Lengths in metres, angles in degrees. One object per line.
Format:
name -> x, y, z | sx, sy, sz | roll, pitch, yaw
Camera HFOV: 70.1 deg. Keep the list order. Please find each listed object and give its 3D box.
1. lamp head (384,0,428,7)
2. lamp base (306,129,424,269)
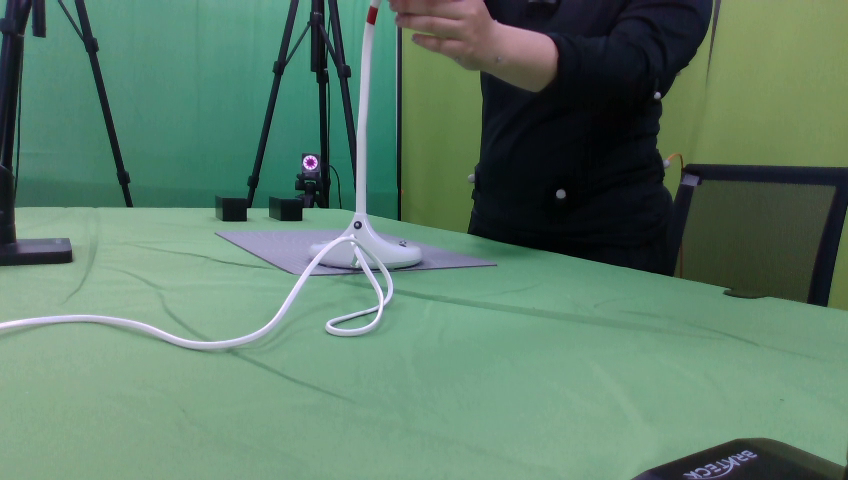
lamp head -> -0.022, -0.323, 0.667 | 0.112, 0.123, 0.112 | 5, 4, 0
lamp base -> -0.077, -0.057, 0.810 | 0.161, 0.180, 0.179 | 1, 10, -4
